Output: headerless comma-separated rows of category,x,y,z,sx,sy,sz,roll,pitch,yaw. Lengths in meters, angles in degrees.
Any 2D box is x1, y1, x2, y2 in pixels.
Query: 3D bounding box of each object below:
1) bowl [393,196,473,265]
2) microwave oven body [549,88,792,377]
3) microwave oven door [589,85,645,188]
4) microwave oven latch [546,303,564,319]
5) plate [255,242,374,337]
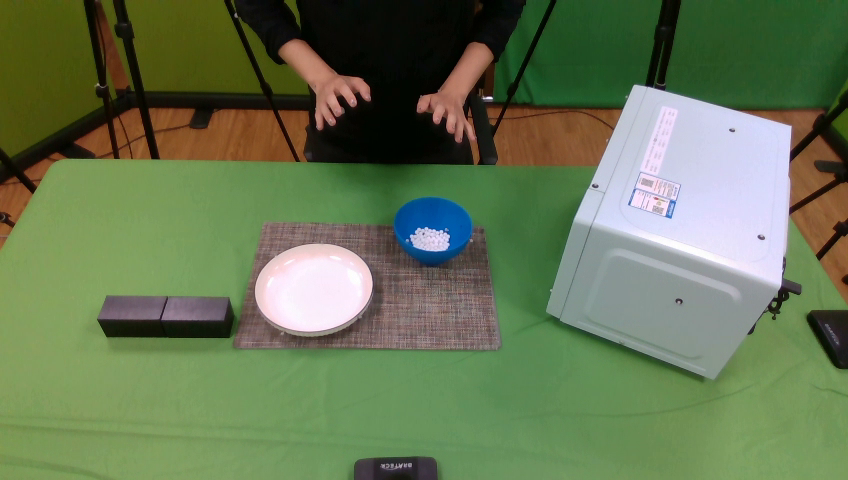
bowl,0.014,-0.005,1.159,0.151,0.077,0.150,2,46,-2
microwave oven body,0.456,-0.028,1.088,0.325,0.261,0.440,20,47,16
microwave oven door,0.342,-0.107,1.149,0.039,0.245,0.354,20,48,15
microwave oven latch,0.242,0.102,1.081,0.030,0.029,0.079,21,48,17
plate,-0.192,0.090,1.079,0.208,0.039,0.206,2,46,-2
